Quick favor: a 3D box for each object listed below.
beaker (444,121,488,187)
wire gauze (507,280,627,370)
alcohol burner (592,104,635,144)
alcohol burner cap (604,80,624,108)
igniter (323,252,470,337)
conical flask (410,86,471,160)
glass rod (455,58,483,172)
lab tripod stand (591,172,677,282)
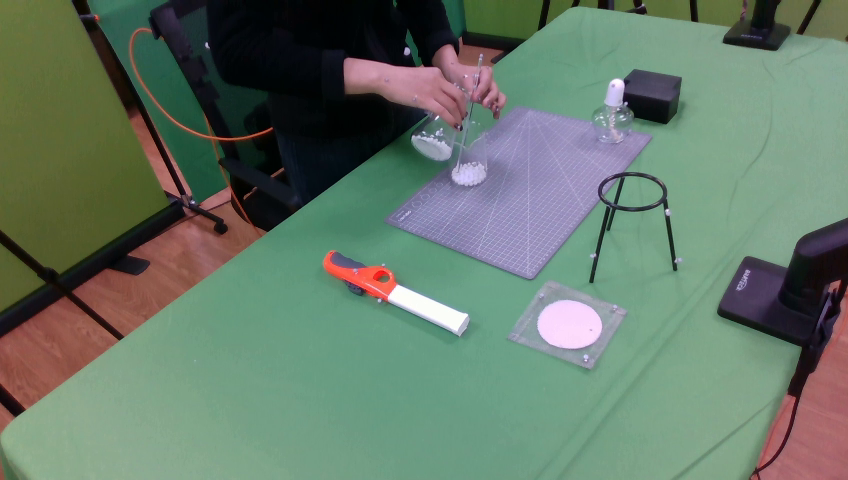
[{"bbox_3d":[0.078,-0.150,1.083,0.074,0.101,0.083,-9,40,1],"label":"beaker"},{"bbox_3d":[0.196,0.114,0.823,0.120,0.011,0.125,20,50,31],"label":"wire gauze"},{"bbox_3d":[0.353,-0.242,1.126,0.078,0.119,0.077,-5,38,5],"label":"alcohol burner"},{"bbox_3d":[0.350,-0.269,1.102,0.034,0.048,0.033,-2,46,2],"label":"alcohol burner cap"},{"bbox_3d":[-0.052,0.075,0.901,0.274,0.025,0.057,22,60,32],"label":"igniter"},{"bbox_3d":[0.035,-0.199,1.004,0.075,0.076,0.122,19,69,30],"label":"conical flask"},{"bbox_3d":[0.077,-0.216,1.056,0.008,0.199,0.008,11,13,-2],"label":"glass rod"},{"bbox_3d":[0.292,-0.022,0.867,0.148,0.132,0.147,-7,39,6],"label":"lab tripod stand"}]
